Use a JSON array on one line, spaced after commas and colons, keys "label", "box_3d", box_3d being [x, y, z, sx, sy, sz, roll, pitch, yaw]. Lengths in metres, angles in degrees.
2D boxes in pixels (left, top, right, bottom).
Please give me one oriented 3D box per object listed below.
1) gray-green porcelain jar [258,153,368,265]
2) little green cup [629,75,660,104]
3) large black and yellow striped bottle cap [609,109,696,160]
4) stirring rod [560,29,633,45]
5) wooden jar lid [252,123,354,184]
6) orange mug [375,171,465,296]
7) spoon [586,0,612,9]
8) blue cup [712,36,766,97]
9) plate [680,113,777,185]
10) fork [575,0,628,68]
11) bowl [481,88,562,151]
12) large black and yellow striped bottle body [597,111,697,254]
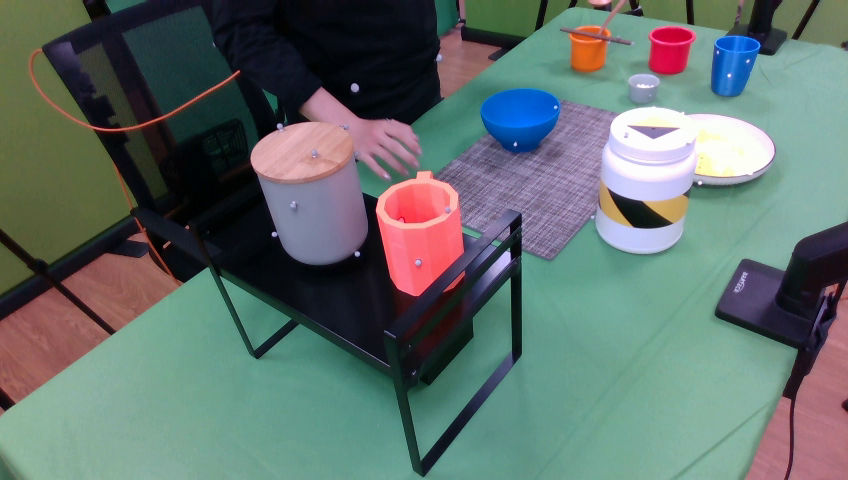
[{"label": "gray-green porcelain jar", "box_3d": [-0.122, -0.043, 0.692, 0.106, 0.127, 0.105, -4, 40, 4]}, {"label": "little green cup", "box_3d": [0.457, -0.314, 1.260, 0.061, 0.039, 0.061, -4, 40, 4]}, {"label": "large black and yellow striped bottle cap", "box_3d": [0.319, -0.150, 0.849, 0.115, 0.019, 0.114, -4, 40, 3]}, {"label": "stirring rod", "box_3d": [0.381, -0.452, 1.345, 0.174, 0.006, 0.014, 25, 49, 33]}, {"label": "wooden jar lid", "box_3d": [-0.129, -0.090, 0.652, 0.108, 0.021, 0.108, -3, 41, 4]}, {"label": "orange mug", "box_3d": [-0.001, -0.016, 0.662, 0.083, 0.101, 0.125, -2, 45, 8]}, {"label": "spoon", "box_3d": [0.384, -0.492, 1.136, 0.194, 0.022, 0.041, -39, 44, -2]}, {"label": "blue cup", "box_3d": [0.627, -0.350, 1.227, 0.092, 0.100, 0.092, -4, 39, 4]}, {"label": "plate", "box_3d": [0.506, -0.158, 1.073, 0.209, 0.038, 0.208, -5, 40, 4]}, {"label": "fork", "box_3d": [0.413, -0.481, 1.377, 0.207, 0.019, 0.028, -57, 42, 12]}, {"label": "bowl", "box_3d": [0.187, -0.223, 1.161, 0.151, 0.077, 0.150, -4, 40, 4]}, {"label": "large black and yellow striped bottle body", "box_3d": [0.331, -0.086, 0.904, 0.131, 0.185, 0.130, -5, 41, 4]}]
